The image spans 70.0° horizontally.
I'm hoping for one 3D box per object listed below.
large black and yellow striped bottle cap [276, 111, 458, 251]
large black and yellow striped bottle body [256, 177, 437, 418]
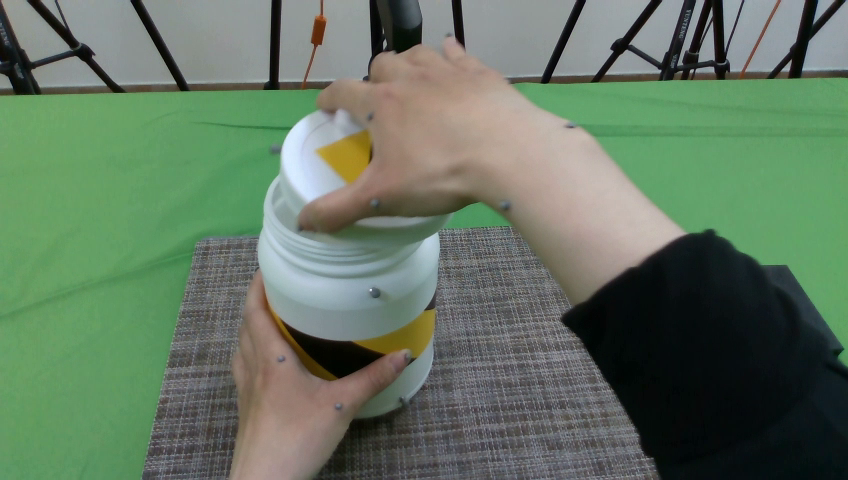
[{"bbox_3d":[-0.035,-0.041,0.385,0.115,0.019,0.114,7,47,-8],"label":"large black and yellow striped bottle cap"},{"bbox_3d":[-0.056,0.037,0.470,0.131,0.185,0.129,2,43,-1],"label":"large black and yellow striped bottle body"}]
